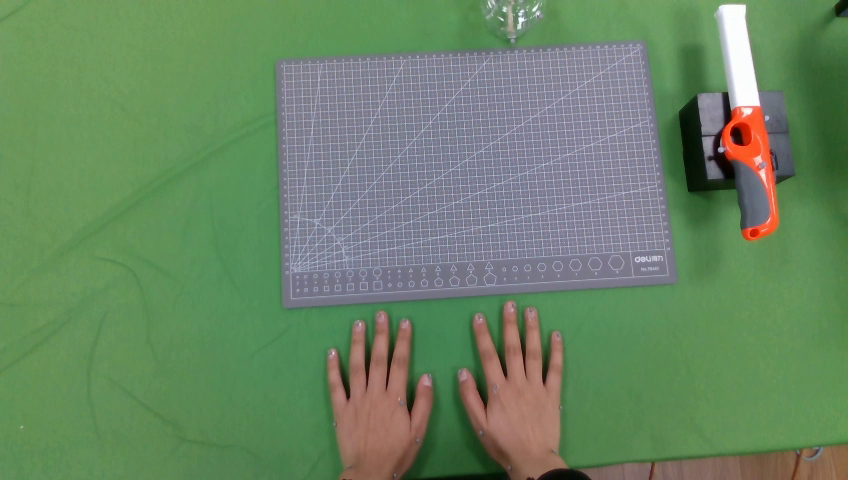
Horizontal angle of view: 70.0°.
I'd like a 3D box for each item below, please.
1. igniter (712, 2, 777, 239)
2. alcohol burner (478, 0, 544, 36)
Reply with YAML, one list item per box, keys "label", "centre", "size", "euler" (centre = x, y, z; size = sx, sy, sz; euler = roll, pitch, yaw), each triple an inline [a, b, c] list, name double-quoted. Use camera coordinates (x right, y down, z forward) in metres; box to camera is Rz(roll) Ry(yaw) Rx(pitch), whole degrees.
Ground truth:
- label: "igniter"
  centre: [0.352, -0.136, 0.669]
  size: [0.057, 0.025, 0.275]
  euler: [0, 77, -1]
- label: "alcohol burner"
  centre: [0.103, -0.286, 0.692]
  size: [0.078, 0.119, 0.077]
  euler: [1, 81, -3]
